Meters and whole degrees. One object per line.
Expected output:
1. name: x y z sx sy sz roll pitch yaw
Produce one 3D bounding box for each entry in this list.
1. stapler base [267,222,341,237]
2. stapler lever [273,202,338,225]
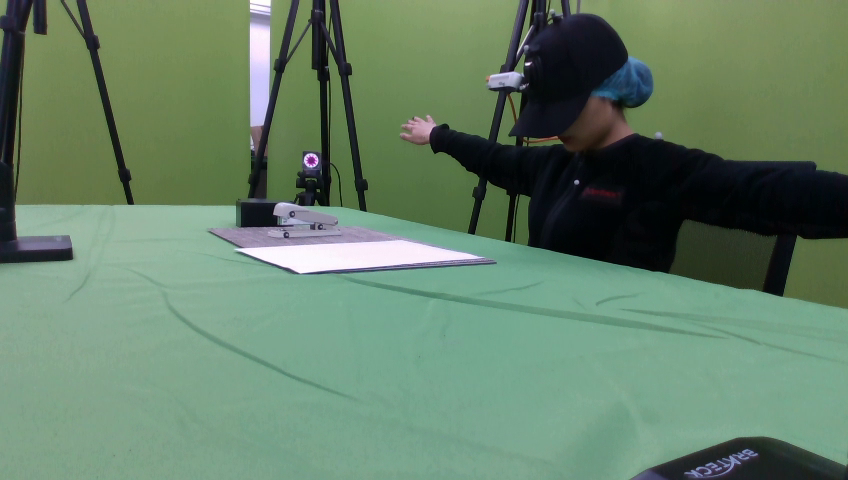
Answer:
1. stapler base: -0.208 -0.020 1.057 0.131 0.024 0.041 -2 12 -41
2. stapler lever: -0.206 -0.045 1.055 0.119 0.040 0.026 -2 12 -41
